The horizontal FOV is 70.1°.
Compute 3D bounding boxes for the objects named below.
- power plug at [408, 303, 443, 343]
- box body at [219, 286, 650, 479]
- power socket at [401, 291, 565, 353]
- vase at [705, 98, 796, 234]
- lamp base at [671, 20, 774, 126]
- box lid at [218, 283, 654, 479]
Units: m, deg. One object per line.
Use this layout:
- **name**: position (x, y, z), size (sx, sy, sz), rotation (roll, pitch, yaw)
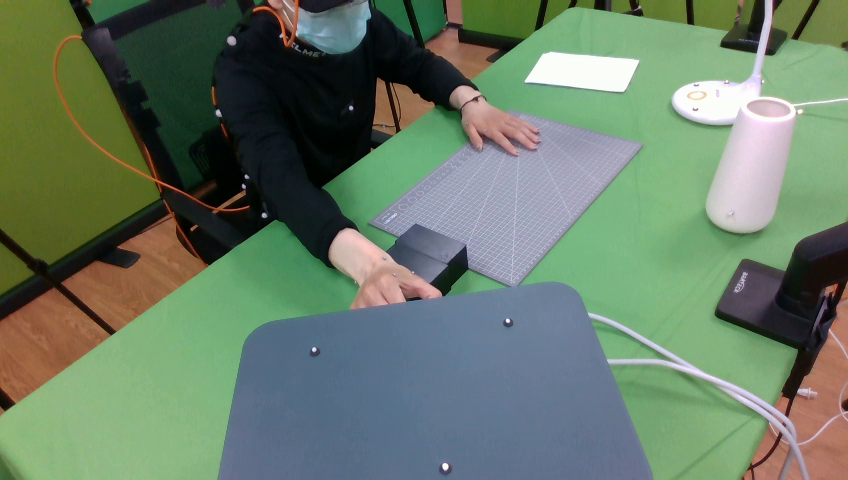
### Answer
- **power plug**: position (0.001, 0.113, 0.778), size (0.035, 0.053, 0.072), rotation (-8, 51, -5)
- **box body**: position (0.005, 0.210, 0.618), size (0.364, 0.161, 0.252), rotation (-8, 40, -1)
- **power socket**: position (0.079, 0.111, 0.823), size (0.227, 0.033, 0.072), rotation (-5, 41, 2)
- **vase**: position (0.480, -0.103, 0.889), size (0.098, 0.201, 0.097), rotation (-4, 42, 4)
- **lamp base**: position (0.581, -0.332, 1.153), size (0.179, 0.181, 0.160), rotation (2, 41, 7)
- **box lid**: position (-0.004, 0.154, 0.571), size (0.372, 0.015, 0.261), rotation (-8, 40, -1)
